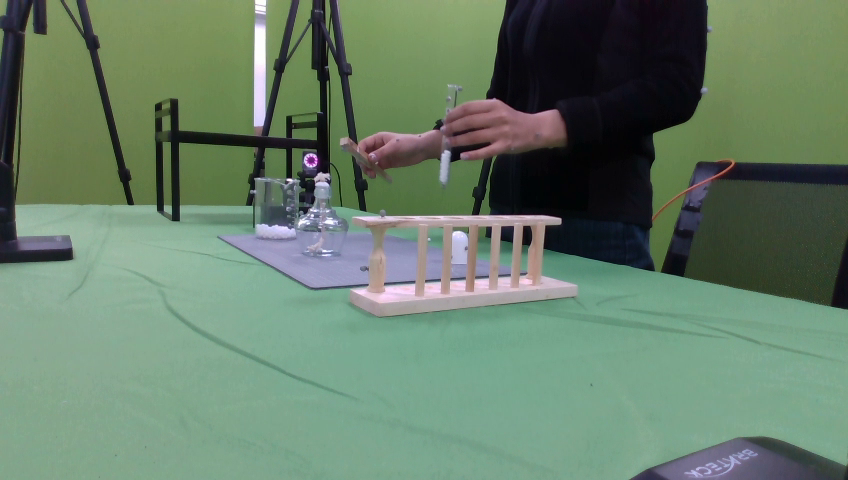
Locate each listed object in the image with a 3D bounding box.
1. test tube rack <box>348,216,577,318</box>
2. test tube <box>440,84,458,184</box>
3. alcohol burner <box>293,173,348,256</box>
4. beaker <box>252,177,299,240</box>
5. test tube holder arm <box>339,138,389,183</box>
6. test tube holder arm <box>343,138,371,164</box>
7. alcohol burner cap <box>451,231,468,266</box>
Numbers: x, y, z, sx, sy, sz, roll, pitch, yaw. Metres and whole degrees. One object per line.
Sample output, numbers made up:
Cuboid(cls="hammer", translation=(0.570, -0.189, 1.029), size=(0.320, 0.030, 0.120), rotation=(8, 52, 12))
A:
Cuboid(cls="test tube rack", translation=(0.048, 0.021, 0.619), size=(0.244, 0.085, 0.066), rotation=(-2, 8, -31))
Cuboid(cls="test tube", translation=(0.037, -0.157, 0.910), size=(0.017, 0.150, 0.017), rotation=(4, 19, -1))
Cuboid(cls="alcohol burner", translation=(-0.147, -0.036, 0.859), size=(0.078, 0.119, 0.078), rotation=(4, 8, 0))
Cuboid(cls="beaker", translation=(-0.245, -0.052, 1.005), size=(0.074, 0.100, 0.083), rotation=(-3, 10, -32))
Cuboid(cls="test tube holder arm", translation=(-0.107, -0.145, 1.123), size=(0.013, 0.015, 0.179), rotation=(2, -16, 23))
Cuboid(cls="test tube holder arm", translation=(-0.119, -0.158, 1.081), size=(0.010, 0.015, 0.088), rotation=(2, -16, 24))
Cuboid(cls="alcohol burner cap", translation=(0.046, 0.012, 0.838), size=(0.034, 0.048, 0.034), rotation=(3, 6, 0))
